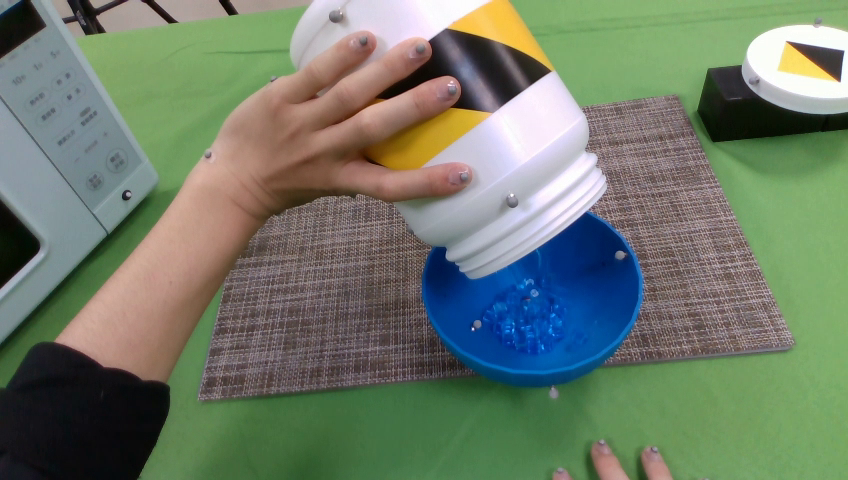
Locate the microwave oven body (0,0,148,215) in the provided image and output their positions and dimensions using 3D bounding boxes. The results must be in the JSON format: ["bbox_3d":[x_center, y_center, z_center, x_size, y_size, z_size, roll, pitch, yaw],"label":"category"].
[{"bbox_3d":[-0.517,-0.026,0.479,0.324,0.263,0.439,17,56,21],"label":"microwave oven body"}]

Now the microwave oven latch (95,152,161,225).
[{"bbox_3d":[-0.295,-0.053,0.594,0.030,0.030,0.079,18,56,22],"label":"microwave oven latch"}]

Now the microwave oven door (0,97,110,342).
[{"bbox_3d":[-0.405,0.039,0.400,0.039,0.246,0.354,16,55,22],"label":"microwave oven door"}]

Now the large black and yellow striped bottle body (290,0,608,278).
[{"bbox_3d":[0.020,-0.080,0.384,0.130,0.130,0.184,-38,96,-21],"label":"large black and yellow striped bottle body"}]

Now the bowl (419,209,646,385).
[{"bbox_3d":[0.076,0.048,0.442,0.151,0.077,0.150,-5,50,6],"label":"bowl"}]

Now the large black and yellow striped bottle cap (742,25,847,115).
[{"bbox_3d":[0.353,-0.157,0.550,0.115,0.019,0.114,-5,49,6],"label":"large black and yellow striped bottle cap"}]
